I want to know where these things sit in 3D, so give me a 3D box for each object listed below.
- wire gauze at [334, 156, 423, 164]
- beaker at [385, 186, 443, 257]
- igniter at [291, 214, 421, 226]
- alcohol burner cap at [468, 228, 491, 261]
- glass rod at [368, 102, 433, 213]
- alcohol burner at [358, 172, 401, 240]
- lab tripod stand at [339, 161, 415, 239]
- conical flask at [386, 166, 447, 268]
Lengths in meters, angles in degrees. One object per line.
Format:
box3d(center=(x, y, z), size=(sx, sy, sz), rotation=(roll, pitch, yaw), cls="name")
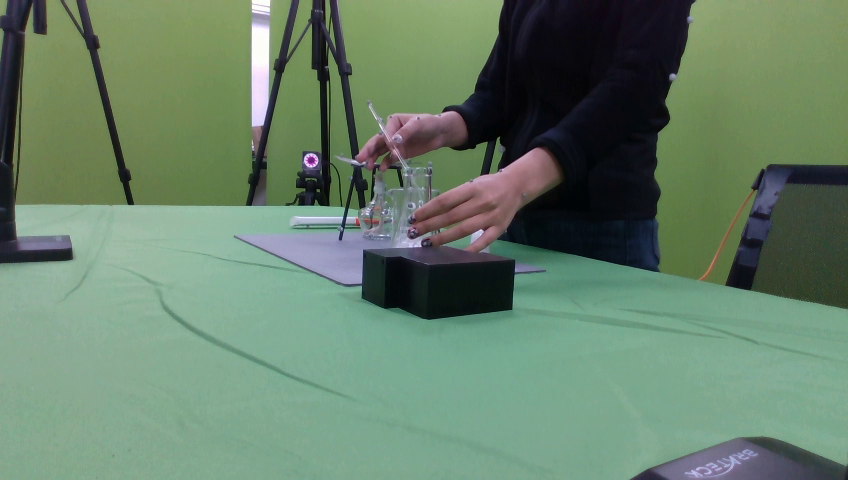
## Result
box3d(center=(-0.081, -0.137, 1.051), size=(0.122, 0.011, 0.124), rotation=(0, 8, -30), cls="wire gauze")
box3d(center=(-0.016, -0.028, 0.886), size=(0.084, 0.100, 0.074), rotation=(0, 7, -9), cls="beaker")
box3d(center=(-0.135, -0.041, 1.250), size=(0.278, 0.025, 0.057), rotation=(-1, -3, -28), cls="igniter")
box3d(center=(0.082, 0.006, 0.878), size=(0.034, 0.048, 0.034), rotation=(3, 6, 0), cls="alcohol burner cap")
box3d(center=(-0.036, -0.124, 0.891), size=(0.008, 0.199, 0.008), rotation=(-28, -14, -7), cls="glass rod")
box3d(center=(-0.077, -0.061, 1.065), size=(0.078, 0.119, 0.078), rotation=(4, 9, 0), cls="alcohol burner")
box3d(center=(-0.082, -0.070, 1.059), size=(0.148, 0.131, 0.148), rotation=(4, 6, 0), cls="lab tripod stand")
box3d(center=(-0.009, -0.030, 0.740), size=(0.075, 0.122, 0.075), rotation=(0, 7, 0), cls="conical flask")
